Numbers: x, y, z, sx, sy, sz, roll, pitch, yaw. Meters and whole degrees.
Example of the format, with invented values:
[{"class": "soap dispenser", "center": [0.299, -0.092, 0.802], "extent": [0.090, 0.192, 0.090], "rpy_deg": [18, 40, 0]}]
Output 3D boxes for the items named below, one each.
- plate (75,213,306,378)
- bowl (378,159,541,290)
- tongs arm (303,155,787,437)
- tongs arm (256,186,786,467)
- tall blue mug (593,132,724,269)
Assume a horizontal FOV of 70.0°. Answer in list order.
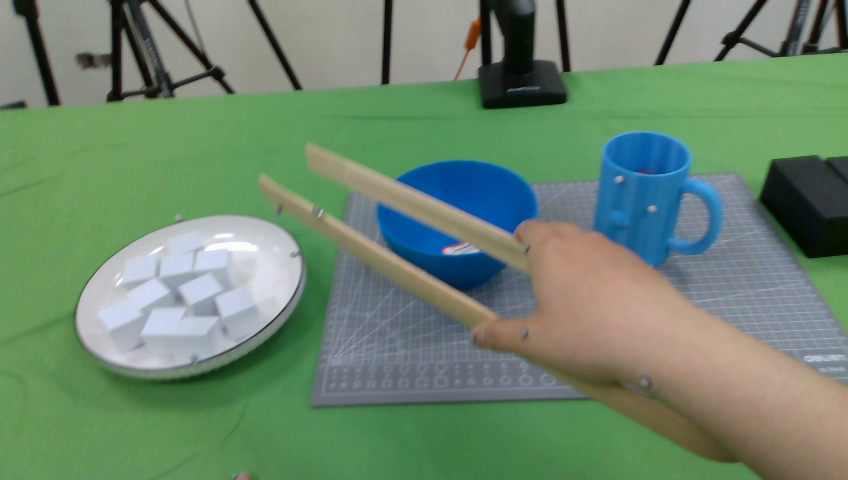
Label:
[{"class": "plate", "center": [-0.214, 0.051, 0.575], "extent": [0.209, 0.038, 0.207], "rpy_deg": [-2, 40, 2]}, {"class": "bowl", "center": [0.035, -0.005, 0.581], "extent": [0.151, 0.077, 0.150], "rpy_deg": [-3, 40, 3]}, {"class": "tongs arm", "center": [0.046, 0.016, 0.418], "extent": [0.384, 0.028, 0.028], "rpy_deg": [28, 47, 30]}, {"class": "tongs arm", "center": [0.026, 0.034, 0.400], "extent": [0.381, 0.027, 0.050], "rpy_deg": [29, 51, 31]}, {"class": "tall blue mug", "center": [0.221, -0.034, 0.573], "extent": [0.107, 0.109, 0.077], "rpy_deg": [5, 41, 12]}]
